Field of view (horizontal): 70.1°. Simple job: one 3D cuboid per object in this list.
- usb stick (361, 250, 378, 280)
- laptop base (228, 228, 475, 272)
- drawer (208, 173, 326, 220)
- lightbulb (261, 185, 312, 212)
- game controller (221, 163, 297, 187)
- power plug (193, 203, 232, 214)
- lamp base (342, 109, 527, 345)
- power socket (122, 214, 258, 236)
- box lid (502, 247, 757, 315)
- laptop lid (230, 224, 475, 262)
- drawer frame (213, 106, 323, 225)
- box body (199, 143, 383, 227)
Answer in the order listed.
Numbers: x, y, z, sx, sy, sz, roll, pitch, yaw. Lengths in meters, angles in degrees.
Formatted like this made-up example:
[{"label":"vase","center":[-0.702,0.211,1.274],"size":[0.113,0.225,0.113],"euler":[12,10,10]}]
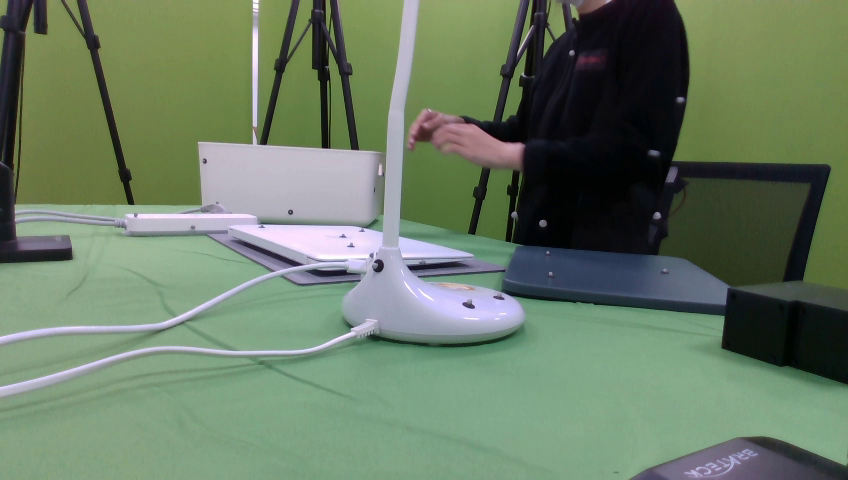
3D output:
[{"label":"usb stick","center":[-0.052,0.033,0.656],"size":[0.027,0.021,0.059],"euler":[4,-27,-20]},{"label":"laptop base","center":[-0.122,0.011,0.889],"size":[0.237,0.023,0.352],"euler":[2,6,-35]},{"label":"drawer","center":[-0.335,-0.102,1.326],"size":[0.212,0.073,0.194],"euler":[8,8,-1]},{"label":"lightbulb","center":[-0.294,-0.085,1.292],"size":[0.108,0.059,0.059],"euler":[-13,13,-20]},{"label":"game controller","center":[-0.362,-0.141,1.315],"size":[0.156,0.051,0.096],"euler":[-1,4,-23]},{"label":"power plug","center":[-0.394,-0.042,1.139],"size":[0.072,0.052,0.035],"euler":[-14,2,31]},{"label":"lamp base","center":[0.006,-0.015,0.504],"size":[0.160,0.180,0.180],"euler":[6,11,29]},{"label":"power socket","center":[-0.398,-0.028,1.049],"size":[0.228,0.032,0.072],"euler":[-3,8,-34]},{"label":"box lid","center":[0.244,0.044,0.793],"size":[0.263,0.015,0.372],"euler":[4,7,10]},{"label":"laptop lid","center":[-0.119,0.000,0.889],"size":[0.243,0.013,0.355],"euler":[1,7,-33]},{"label":"drawer frame","center":[-0.316,-0.142,1.308],"size":[0.082,0.213,0.202],"euler":[22,-17,31]},{"label":"box body","center":[-0.276,-0.124,1.335],"size":[0.364,0.160,0.254],"euler":[3,7,1]}]
